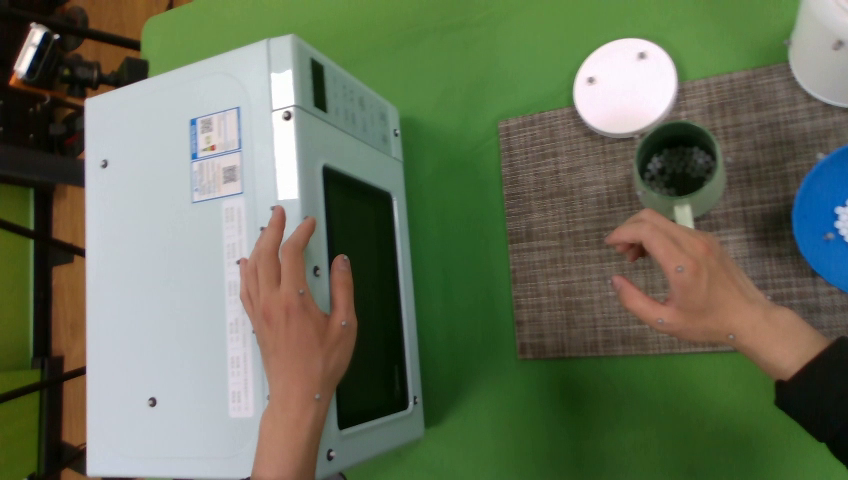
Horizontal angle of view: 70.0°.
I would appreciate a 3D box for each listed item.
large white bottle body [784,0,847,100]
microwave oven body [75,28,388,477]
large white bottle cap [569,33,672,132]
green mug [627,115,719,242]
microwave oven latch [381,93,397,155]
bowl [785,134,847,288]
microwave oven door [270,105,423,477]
[{"bbox_3d":[0.405,-0.218,0.539,0.130,0.186,0.130,-4,79,23],"label":"large white bottle body"},{"bbox_3d":[-0.215,0.034,0.744,0.325,0.262,0.440,-8,82,22],"label":"microwave oven body"},{"bbox_3d":[0.228,-0.183,0.705,0.114,0.018,0.114,-3,82,23],"label":"large white bottle cap"},{"bbox_3d":[0.260,-0.061,0.631,0.092,0.105,0.125,-8,81,22],"label":"green mug"},{"bbox_3d":[-0.055,-0.151,0.800,0.030,0.030,0.079,-8,82,22],"label":"microwave oven latch"},{"bbox_3d":[0.422,-0.023,0.570,0.151,0.077,0.151,-3,83,24],"label":"bowl"},{"bbox_3d":[-0.080,0.054,0.678,0.039,0.245,0.354,-9,81,23],"label":"microwave oven door"}]
